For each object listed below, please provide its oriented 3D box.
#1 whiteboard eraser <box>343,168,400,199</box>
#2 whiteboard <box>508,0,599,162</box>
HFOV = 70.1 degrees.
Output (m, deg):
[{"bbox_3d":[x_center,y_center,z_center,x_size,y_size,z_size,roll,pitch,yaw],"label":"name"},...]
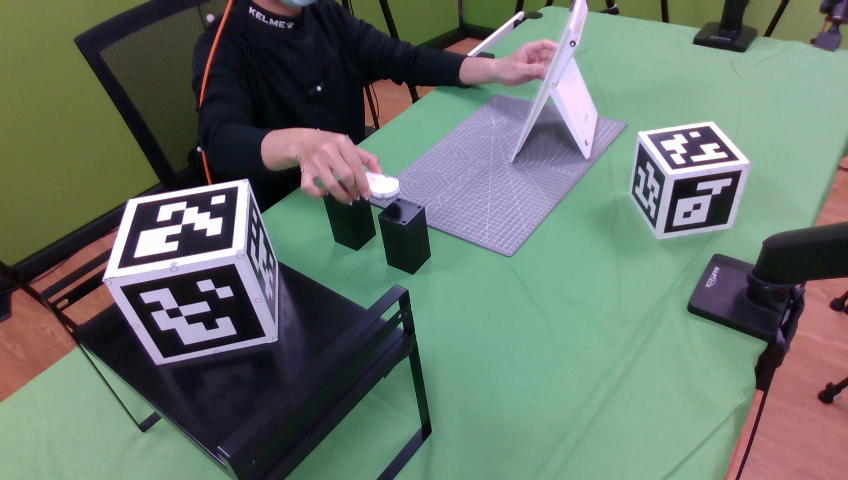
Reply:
[{"bbox_3d":[-0.079,-0.085,0.902,0.100,0.019,0.041,21,46,34],"label":"whiteboard eraser"},{"bbox_3d":[0.285,-0.289,1.090,0.144,0.305,0.217,22,45,3],"label":"whiteboard"}]
